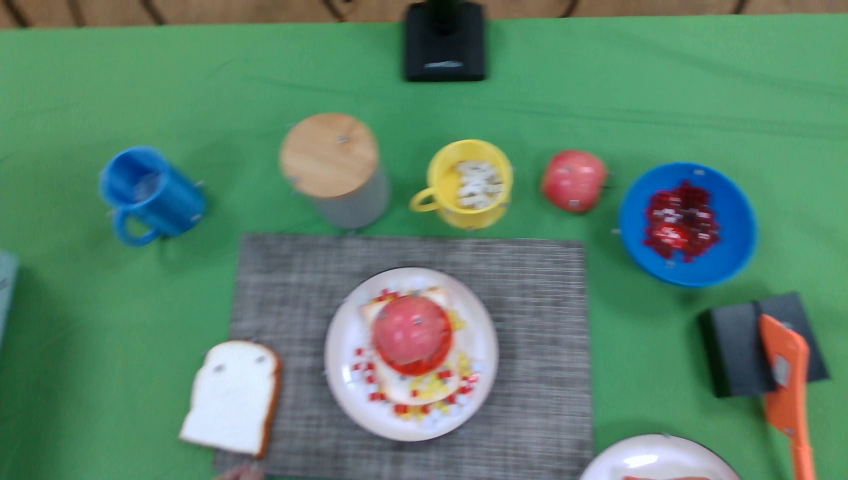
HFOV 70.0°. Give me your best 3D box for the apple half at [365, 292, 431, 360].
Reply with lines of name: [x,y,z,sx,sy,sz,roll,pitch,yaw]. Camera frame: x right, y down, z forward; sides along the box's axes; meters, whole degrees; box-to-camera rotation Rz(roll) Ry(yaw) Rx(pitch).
apple half: [-0.030,0.093,0.674,0.081,0.033,0.081,-3,70,9]

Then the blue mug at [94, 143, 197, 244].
blue mug: [-0.359,-0.050,0.772,0.082,0.106,0.116,21,77,10]

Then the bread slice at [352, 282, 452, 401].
bread slice: [-0.019,0.125,0.731,0.107,0.018,0.133,-16,75,0]

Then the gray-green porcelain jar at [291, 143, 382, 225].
gray-green porcelain jar: [-0.110,-0.082,0.753,0.106,0.127,0.105,-1,74,4]

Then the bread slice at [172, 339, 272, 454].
bread slice: [-0.244,0.186,0.741,0.105,0.019,0.131,8,76,5]

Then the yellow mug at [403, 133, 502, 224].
yellow mug: [0.034,-0.072,0.772,0.131,0.064,0.099,-21,74,-1]

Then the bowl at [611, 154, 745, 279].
bowl: [0.295,-0.019,0.732,0.151,0.077,0.150,-1,74,4]

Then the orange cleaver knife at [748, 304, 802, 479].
orange cleaver knife: [0.387,0.177,0.669,0.012,0.077,0.211,-9,95,-5]

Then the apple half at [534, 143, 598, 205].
apple half: [0.183,-0.091,0.773,0.074,0.054,0.080,23,77,12]

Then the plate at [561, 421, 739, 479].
plate: [0.248,0.306,0.665,0.209,0.038,0.208,-1,74,4]

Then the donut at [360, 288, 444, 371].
donut: [-0.025,0.104,0.708,0.099,0.048,0.098,-1,74,5]

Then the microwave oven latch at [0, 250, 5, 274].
microwave oven latch: [-0.564,0.049,0.774,0.030,0.029,0.079,4,75,5]

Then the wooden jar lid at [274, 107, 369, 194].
wooden jar lid: [-0.116,-0.100,0.692,0.108,0.021,0.107,0,72,2]

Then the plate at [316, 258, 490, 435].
plate: [-0.025,0.127,0.731,0.207,0.039,0.206,-1,75,4]
